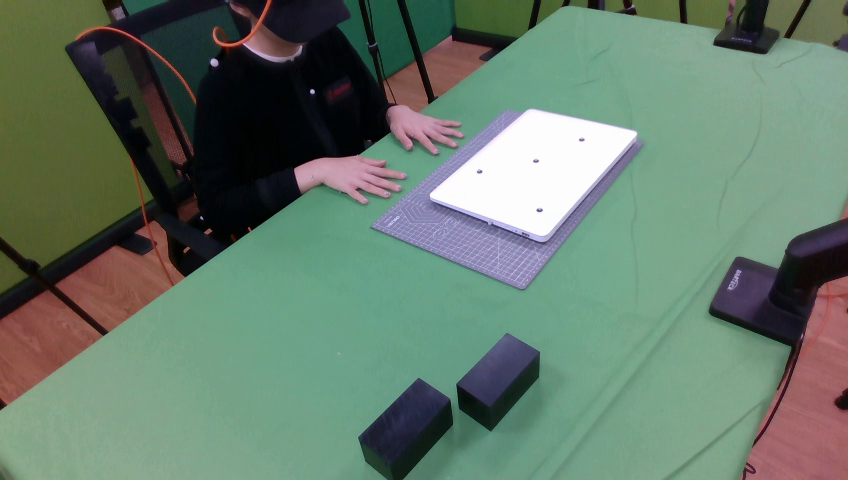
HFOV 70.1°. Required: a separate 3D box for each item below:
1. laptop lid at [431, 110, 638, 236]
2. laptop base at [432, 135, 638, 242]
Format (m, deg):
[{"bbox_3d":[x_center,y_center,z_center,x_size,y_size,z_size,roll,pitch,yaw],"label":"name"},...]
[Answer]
[{"bbox_3d":[0.205,-0.138,1.092,0.239,0.013,0.358,23,49,34],"label":"laptop lid"},{"bbox_3d":[0.208,-0.128,1.098,0.233,0.023,0.355,20,47,33],"label":"laptop base"}]
